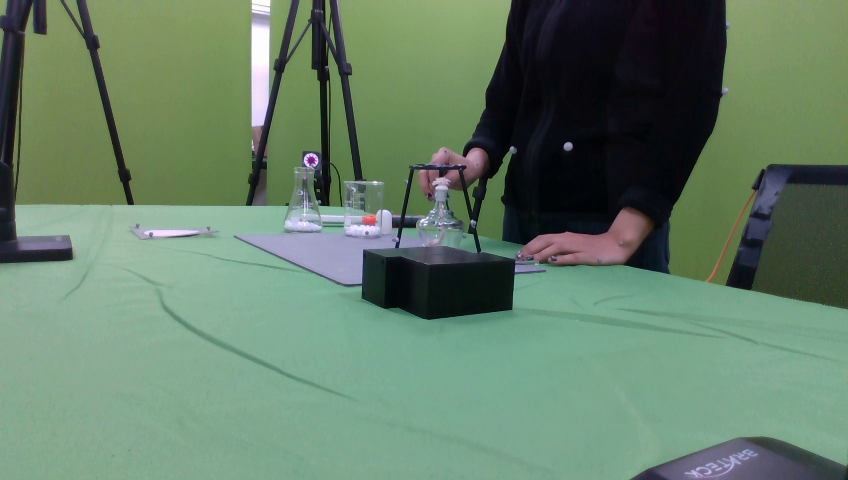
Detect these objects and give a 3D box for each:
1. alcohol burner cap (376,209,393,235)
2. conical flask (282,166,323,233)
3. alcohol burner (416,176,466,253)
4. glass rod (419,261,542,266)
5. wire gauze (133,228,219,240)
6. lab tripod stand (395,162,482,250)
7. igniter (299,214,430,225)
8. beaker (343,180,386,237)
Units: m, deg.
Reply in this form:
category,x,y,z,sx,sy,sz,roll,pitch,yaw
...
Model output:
category,x,y,z,sx,sy,sz,roll,pitch,yaw
alcohol burner cap,-0.075,-0.036,1.150,0.034,0.048,0.034,2,7,0
conical flask,-0.225,-0.076,1.129,0.075,0.122,0.075,2,8,0
alcohol burner,0.027,-0.040,0.935,0.078,0.119,0.078,3,9,0
glass rod,0.080,0.031,0.807,0.201,0.008,0.008,1,6,-31
wire gauze,-0.421,-0.014,1.024,0.122,0.011,0.124,-2,7,-34
lab tripod stand,0.026,-0.054,0.933,0.148,0.131,0.148,1,8,0
igniter,-0.123,-0.044,1.281,0.278,0.025,0.057,0,-2,-19
beaker,-0.111,-0.058,1.090,0.083,0.100,0.074,7,8,33
